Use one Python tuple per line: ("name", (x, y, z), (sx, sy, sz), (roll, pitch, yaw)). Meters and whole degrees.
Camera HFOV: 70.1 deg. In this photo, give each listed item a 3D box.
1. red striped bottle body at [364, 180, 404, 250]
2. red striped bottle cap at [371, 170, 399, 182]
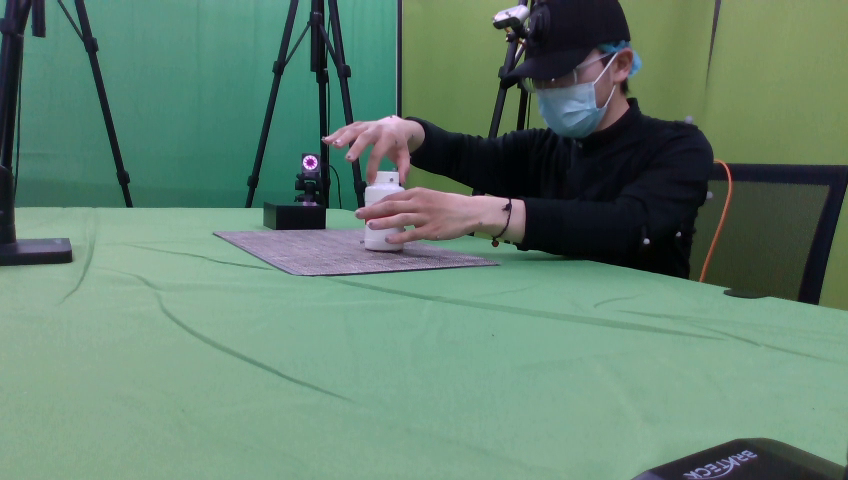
("red striped bottle body", (-0.062, -0.047, 0.944), (0.063, 0.119, 0.063), (1, 4, 0))
("red striped bottle cap", (-0.061, -0.099, 0.939), (0.044, 0.017, 0.044), (1, 2, 0))
